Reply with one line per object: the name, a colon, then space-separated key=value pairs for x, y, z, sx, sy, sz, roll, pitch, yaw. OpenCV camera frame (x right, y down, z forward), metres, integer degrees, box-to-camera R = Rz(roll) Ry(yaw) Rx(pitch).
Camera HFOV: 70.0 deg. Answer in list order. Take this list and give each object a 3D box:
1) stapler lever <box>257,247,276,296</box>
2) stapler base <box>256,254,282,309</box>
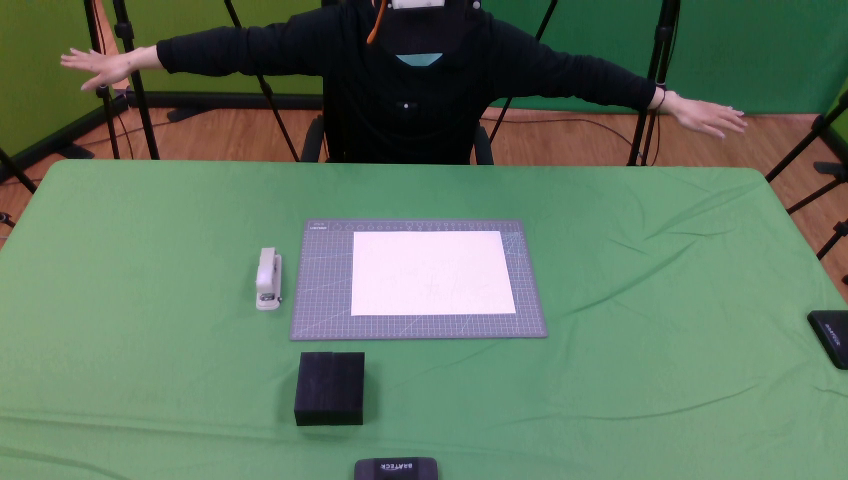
stapler lever: x=-0.283 y=0.050 z=1.090 sx=0.027 sy=0.040 sz=0.117 roll=-2 pitch=45 yaw=-9
stapler base: x=-0.284 y=0.069 z=1.107 sx=0.041 sy=0.024 sz=0.129 roll=-2 pitch=45 yaw=-9
